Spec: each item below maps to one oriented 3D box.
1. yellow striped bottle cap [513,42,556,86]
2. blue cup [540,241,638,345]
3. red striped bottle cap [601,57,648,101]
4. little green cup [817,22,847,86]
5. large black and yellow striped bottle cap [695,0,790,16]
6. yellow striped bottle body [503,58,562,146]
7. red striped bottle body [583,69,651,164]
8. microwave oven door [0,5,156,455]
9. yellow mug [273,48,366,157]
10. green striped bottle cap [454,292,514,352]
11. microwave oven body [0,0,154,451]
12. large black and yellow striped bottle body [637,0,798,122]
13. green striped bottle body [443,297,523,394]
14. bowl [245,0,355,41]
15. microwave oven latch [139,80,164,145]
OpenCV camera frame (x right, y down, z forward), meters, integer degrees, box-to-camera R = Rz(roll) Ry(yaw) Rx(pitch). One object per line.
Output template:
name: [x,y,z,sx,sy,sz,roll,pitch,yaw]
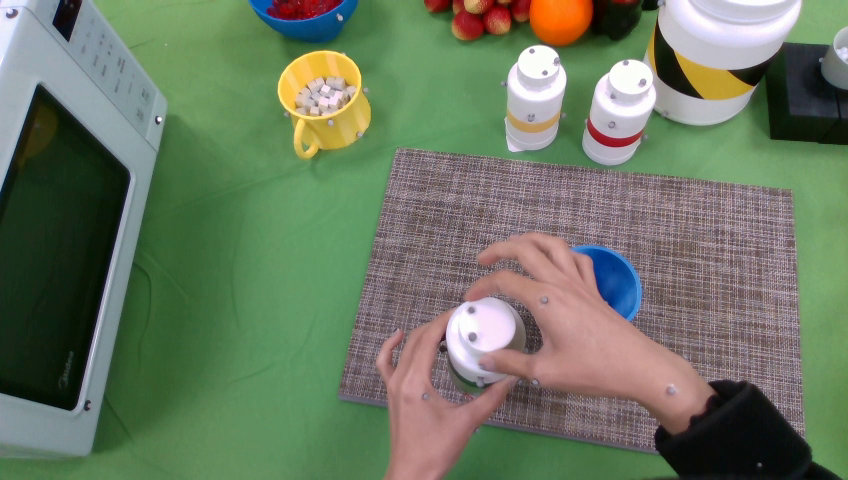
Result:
yellow striped bottle cap: [0.115,-0.184,0.632,0.044,0.019,0.044,-2,67,4]
blue cup: [0.150,0.060,0.585,0.092,0.101,0.092,-1,65,3]
red striped bottle cap: [0.203,-0.163,0.614,0.044,0.018,0.044,0,65,1]
little green cup: [0.459,-0.199,0.652,0.061,0.039,0.061,-1,65,3]
large black and yellow striped bottle cap: [0.303,-0.264,0.578,0.115,0.019,0.114,-2,65,5]
yellow striped bottle body: [0.120,-0.163,0.679,0.063,0.121,0.062,-2,66,5]
red striped bottle body: [0.210,-0.141,0.661,0.063,0.121,0.062,-4,63,8]
microwave oven door: [-0.357,0.004,0.565,0.039,0.246,0.353,-2,66,5]
yellow mug: [-0.130,-0.159,0.730,0.099,0.064,0.130,17,70,11]
green striped bottle cap: [0.045,0.062,0.455,0.044,0.020,0.044,1,67,-1]
microwave oven body: [-0.501,-0.029,0.598,0.326,0.262,0.438,-1,67,5]
large black and yellow striped bottle body: [0.312,-0.231,0.655,0.130,0.185,0.130,-2,66,5]
green striped bottle body: [0.048,0.086,0.502,0.063,0.120,0.062,-1,65,3]
bowl: [-0.154,-0.318,0.796,0.151,0.077,0.150,-2,67,4]
microwave oven latch: [-0.342,-0.156,0.744,0.030,0.030,0.078,0,67,5]
